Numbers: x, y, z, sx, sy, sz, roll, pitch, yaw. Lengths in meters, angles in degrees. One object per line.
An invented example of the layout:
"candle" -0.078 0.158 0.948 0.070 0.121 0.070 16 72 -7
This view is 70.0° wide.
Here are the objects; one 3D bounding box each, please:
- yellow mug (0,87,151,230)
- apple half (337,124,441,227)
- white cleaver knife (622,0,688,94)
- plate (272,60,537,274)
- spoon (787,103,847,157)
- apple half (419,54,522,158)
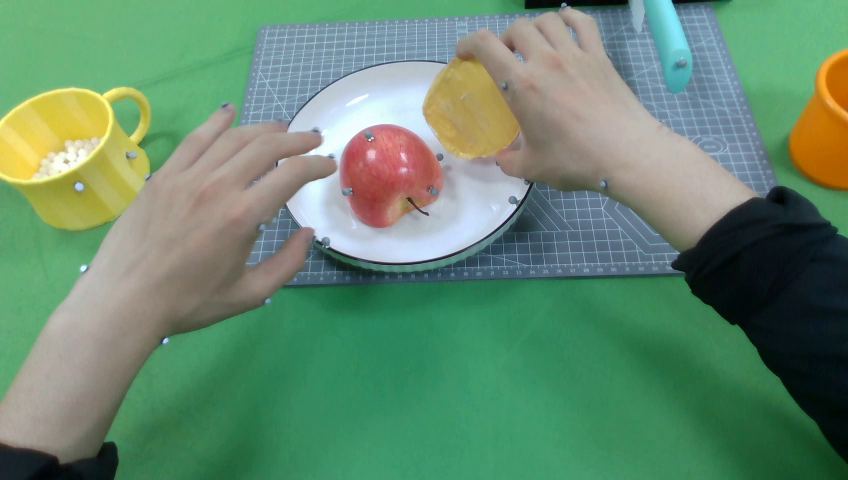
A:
"yellow mug" -0.282 -0.078 0.504 0.099 0.064 0.130 29 64 19
"apple half" -0.030 -0.058 0.471 0.081 0.054 0.074 -26 60 -9
"white cleaver knife" 0.201 -0.234 0.566 0.021 0.066 0.283 -4 54 7
"plate" -0.015 -0.060 0.490 0.209 0.038 0.207 -1 59 2
"spoon" 0.366 -0.119 0.440 0.022 0.194 0.041 23 47 -34
"apple half" 0.037 -0.104 0.470 0.081 0.082 0.032 17 35 14
